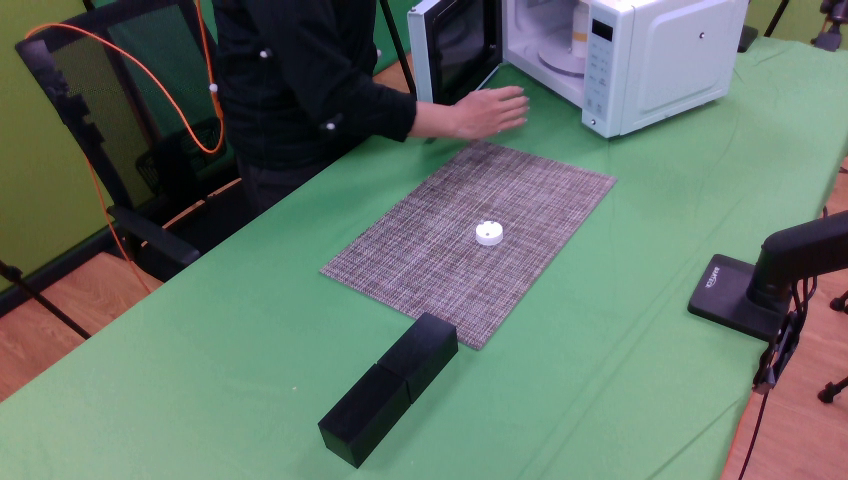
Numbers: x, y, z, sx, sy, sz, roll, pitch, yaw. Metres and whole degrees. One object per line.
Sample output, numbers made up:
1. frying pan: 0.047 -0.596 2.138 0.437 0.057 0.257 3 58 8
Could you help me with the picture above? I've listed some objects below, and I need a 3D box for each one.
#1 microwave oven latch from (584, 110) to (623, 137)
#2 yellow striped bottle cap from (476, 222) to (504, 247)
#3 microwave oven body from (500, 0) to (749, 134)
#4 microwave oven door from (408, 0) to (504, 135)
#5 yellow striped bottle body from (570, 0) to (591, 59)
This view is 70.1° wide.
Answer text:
1. microwave oven latch: 0.337 -0.222 1.142 0.030 0.029 0.078 -21 42 -14
2. yellow striped bottle cap: 0.105 -0.010 0.966 0.044 0.019 0.044 -4 39 3
3. microwave oven body: 0.381 -0.444 1.246 0.327 0.261 0.437 -22 42 -16
4. microwave oven door: 0.078 -0.411 1.242 0.039 0.245 0.356 15 46 24
5. yellow striped bottle body: 0.340 -0.449 1.271 0.063 0.121 0.062 -6 44 6
